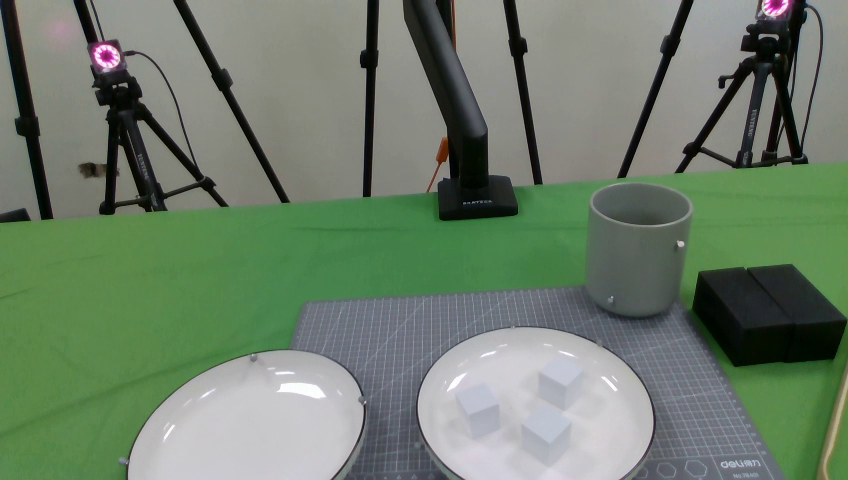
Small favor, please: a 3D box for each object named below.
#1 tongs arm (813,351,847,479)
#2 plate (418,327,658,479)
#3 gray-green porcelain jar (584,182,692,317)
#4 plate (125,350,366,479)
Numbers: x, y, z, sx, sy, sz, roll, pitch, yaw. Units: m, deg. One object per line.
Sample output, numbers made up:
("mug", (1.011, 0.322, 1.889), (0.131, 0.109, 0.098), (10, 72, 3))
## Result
("tongs arm", (0.423, 0.115, 0.583), (0.028, 0.028, 0.387), (22, 41, 33))
("plate", (0.099, 0.158, 0.546), (0.207, 0.039, 0.206), (-4, 31, 3))
("gray-green porcelain jar", (0.235, 0.014, 0.679), (0.106, 0.127, 0.105), (-4, 31, 3))
("plate", (-0.153, 0.181, 0.545), (0.209, 0.038, 0.207), (-5, 31, 3))
